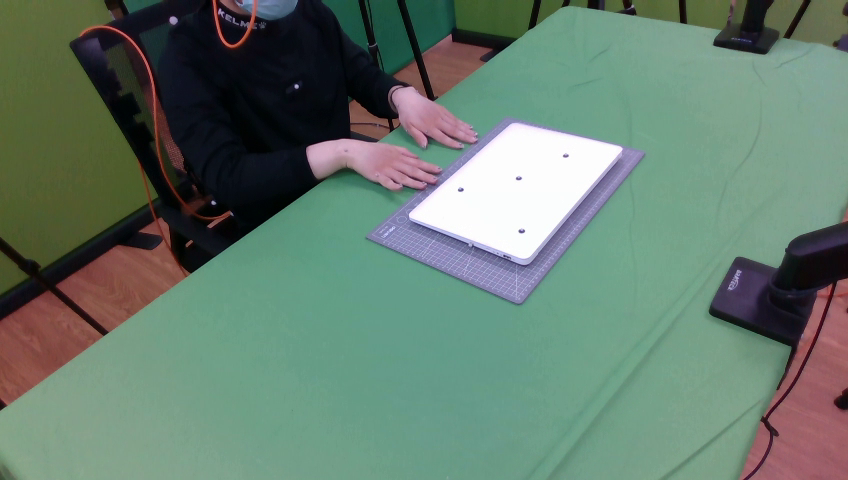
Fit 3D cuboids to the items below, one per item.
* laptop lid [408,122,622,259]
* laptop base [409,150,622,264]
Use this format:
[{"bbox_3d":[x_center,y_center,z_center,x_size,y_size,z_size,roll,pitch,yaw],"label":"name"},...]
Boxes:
[{"bbox_3d":[0.165,-0.105,1.050,0.240,0.013,0.358,22,48,33],"label":"laptop lid"},{"bbox_3d":[0.168,-0.095,1.057,0.233,0.023,0.355,20,47,33],"label":"laptop base"}]
